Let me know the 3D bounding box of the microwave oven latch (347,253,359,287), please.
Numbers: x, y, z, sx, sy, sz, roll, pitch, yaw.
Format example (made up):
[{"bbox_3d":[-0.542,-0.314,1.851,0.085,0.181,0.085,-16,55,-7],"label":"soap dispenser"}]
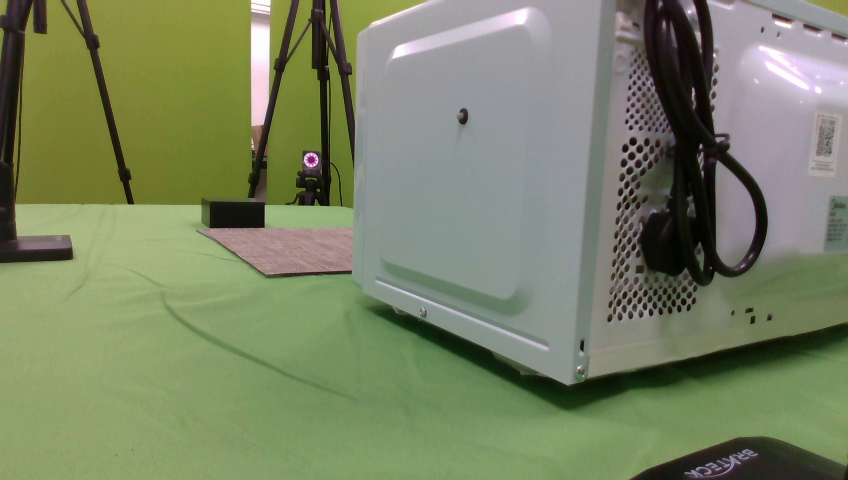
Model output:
[{"bbox_3d":[-0.034,0.028,0.581,0.079,0.029,0.030,-1,7,-31],"label":"microwave oven latch"}]

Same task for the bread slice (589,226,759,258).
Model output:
[{"bbox_3d":[0.226,0.001,0.568,0.132,0.019,0.104,3,6,-23],"label":"bread slice"}]

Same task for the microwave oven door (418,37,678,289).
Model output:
[{"bbox_3d":[0.159,-0.079,0.684,0.358,0.243,0.039,-2,9,-32],"label":"microwave oven door"}]

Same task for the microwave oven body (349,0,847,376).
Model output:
[{"bbox_3d":[0.199,-0.053,0.540,0.444,0.260,0.324,-1,7,-32],"label":"microwave oven body"}]

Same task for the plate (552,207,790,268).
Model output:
[{"bbox_3d":[0.225,-0.005,0.572,0.209,0.038,0.209,4,7,0],"label":"plate"}]
